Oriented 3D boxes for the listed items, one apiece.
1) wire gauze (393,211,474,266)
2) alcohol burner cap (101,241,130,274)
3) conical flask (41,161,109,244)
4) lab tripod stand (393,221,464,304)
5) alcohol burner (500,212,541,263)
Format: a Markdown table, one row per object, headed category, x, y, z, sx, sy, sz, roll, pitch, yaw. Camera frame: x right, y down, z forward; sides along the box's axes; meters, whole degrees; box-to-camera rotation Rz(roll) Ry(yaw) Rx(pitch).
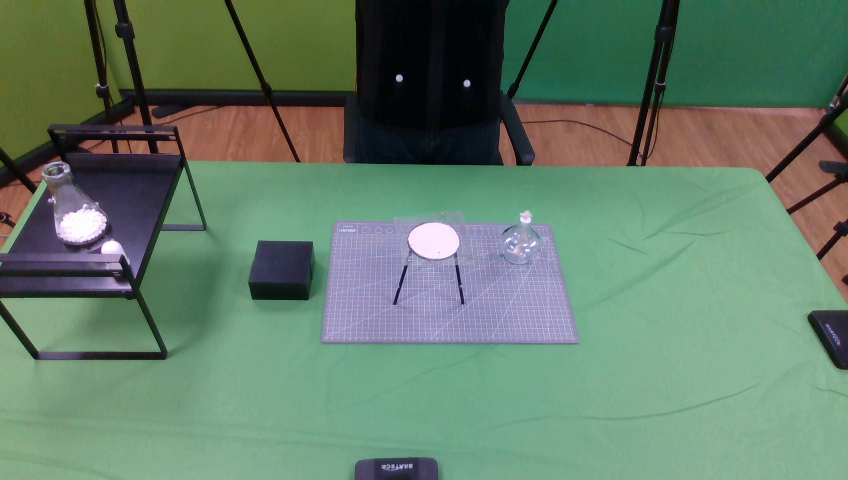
| category | x | y | z | sx | sy | sz | roll | pitch | yaw |
| --- | --- | --- | --- | --- | --- | --- | --- | --- | --- |
| wire gauze | 0.015 | -0.003 | 1.028 | 0.125 | 0.011 | 0.120 | -4 | 47 | -7 |
| alcohol burner cap | -0.449 | 0.022 | 0.878 | 0.034 | 0.048 | 0.033 | 2 | 45 | -2 |
| conical flask | -0.522 | -0.058 | 0.894 | 0.075 | 0.122 | 0.075 | 2 | 46 | -2 |
| lab tripod stand | 0.010 | 0.045 | 1.075 | 0.148 | 0.132 | 0.147 | 2 | 48 | -2 |
| alcohol burner | 0.187 | -0.011 | 1.156 | 0.078 | 0.120 | 0.077 | 2 | 48 | -2 |
